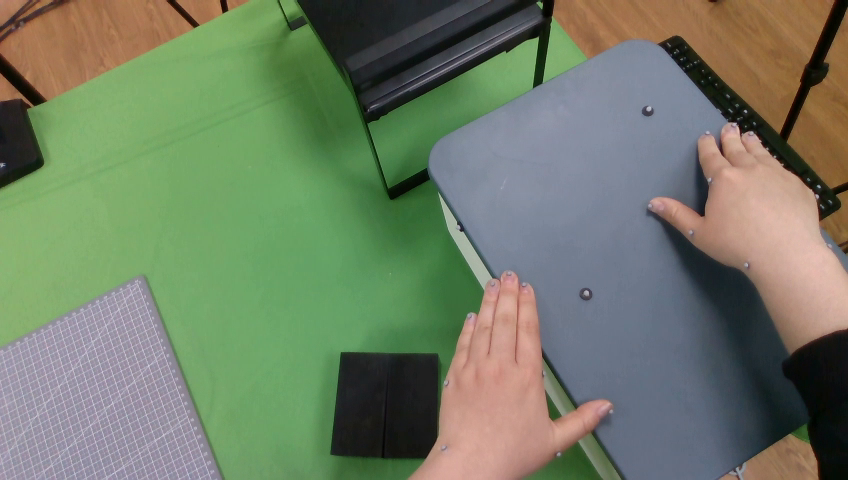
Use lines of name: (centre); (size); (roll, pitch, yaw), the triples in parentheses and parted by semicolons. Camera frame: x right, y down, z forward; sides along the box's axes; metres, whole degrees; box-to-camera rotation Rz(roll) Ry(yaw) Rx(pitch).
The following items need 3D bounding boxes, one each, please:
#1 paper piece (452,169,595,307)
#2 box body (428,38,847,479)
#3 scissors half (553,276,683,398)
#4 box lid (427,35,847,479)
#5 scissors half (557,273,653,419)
paper piece: (0.117, -0.005, 0.704); (0.136, 0.008, 0.137); (-17, 81, -9)
box body: (0.199, 0.022, 0.595); (0.254, 0.161, 0.361); (-29, 69, -6)
scissors half: (0.202, 0.097, 0.643); (0.040, 0.013, 0.173); (-39, 66, -17)
box lid: (0.191, -0.006, 0.527); (0.263, 0.015, 0.368); (-29, 69, -6)
scissors half: (0.184, 0.107, 0.640); (0.040, 0.013, 0.173); (-22, 62, -2)
